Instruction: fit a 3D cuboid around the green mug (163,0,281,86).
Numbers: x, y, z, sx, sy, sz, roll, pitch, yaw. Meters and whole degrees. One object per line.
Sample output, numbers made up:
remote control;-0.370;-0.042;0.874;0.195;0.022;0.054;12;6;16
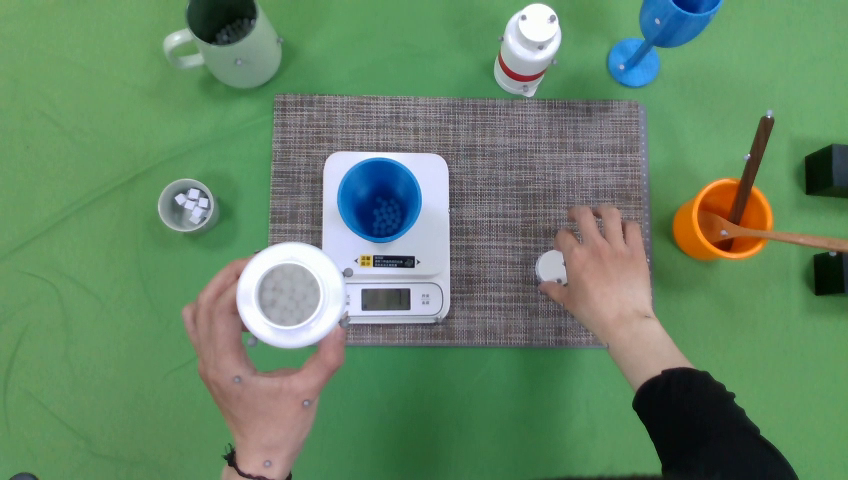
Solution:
green mug;-0.234;-0.229;0.695;0.125;0.105;0.092;-22;84;-4

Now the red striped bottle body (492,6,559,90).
red striped bottle body;0.117;-0.225;0.700;0.063;0.120;0.063;0;82;-2

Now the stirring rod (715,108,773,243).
stirring rod;0.353;-0.065;0.673;0.014;0.178;0.006;7;41;12

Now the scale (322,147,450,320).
scale;-0.044;-0.009;0.705;0.149;0.031;0.200;0;83;-2

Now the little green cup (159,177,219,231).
little green cup;-0.268;-0.039;0.701;0.061;0.039;0.061;1;82;-3

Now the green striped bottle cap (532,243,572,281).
green striped bottle cap;0.151;0.026;0.714;0.044;0.020;0.044;1;86;-10

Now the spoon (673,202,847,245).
spoon;0.372;-0.013;0.667;0.022;0.192;0.041;15;89;-43

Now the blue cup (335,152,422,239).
blue cup;-0.046;-0.039;0.643;0.093;0.100;0.092;0;84;-3

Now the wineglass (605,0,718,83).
wineglass;0.263;-0.242;0.680;0.074;0.172;0.073;0;82;-1

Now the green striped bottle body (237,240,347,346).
green striped bottle body;-0.081;0.033;0.387;0.063;0.119;0.063;1;86;-7

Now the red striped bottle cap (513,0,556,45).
red striped bottle cap;0.118;-0.232;0.647;0.044;0.018;0.044;0;80;-2
